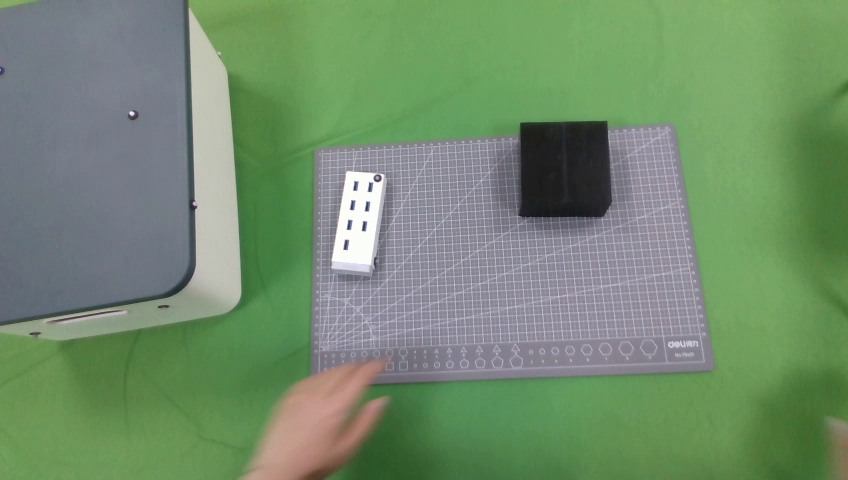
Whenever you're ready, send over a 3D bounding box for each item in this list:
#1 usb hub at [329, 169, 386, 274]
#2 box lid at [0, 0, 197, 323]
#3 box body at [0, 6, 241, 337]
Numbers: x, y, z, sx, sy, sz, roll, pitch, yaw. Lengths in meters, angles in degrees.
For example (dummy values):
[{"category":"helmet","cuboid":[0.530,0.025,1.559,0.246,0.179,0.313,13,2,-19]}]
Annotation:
[{"category":"usb hub","cuboid":[-0.079,-0.023,0.729,0.049,0.025,0.124,6,75,5]},{"category":"box lid","cuboid":[-0.368,-0.102,0.628,0.263,0.015,0.369,-9,73,2]},{"category":"box body","cuboid":[-0.362,-0.082,0.699,0.254,0.161,0.361,-9,73,1]}]
